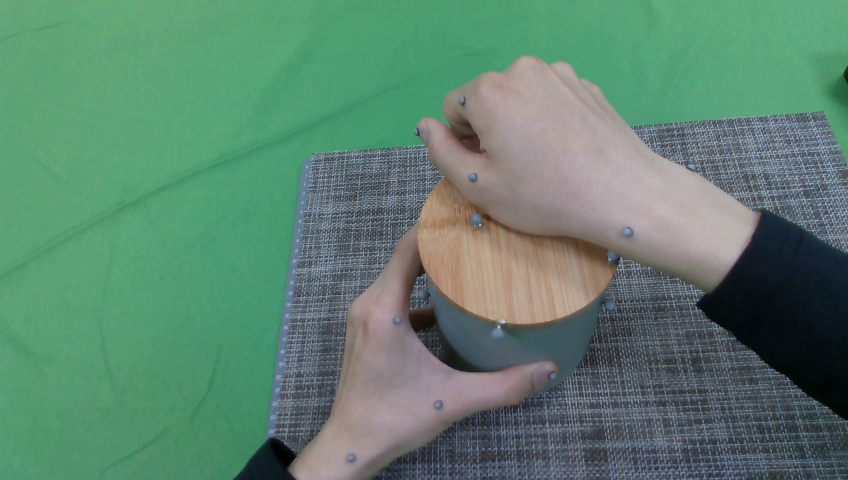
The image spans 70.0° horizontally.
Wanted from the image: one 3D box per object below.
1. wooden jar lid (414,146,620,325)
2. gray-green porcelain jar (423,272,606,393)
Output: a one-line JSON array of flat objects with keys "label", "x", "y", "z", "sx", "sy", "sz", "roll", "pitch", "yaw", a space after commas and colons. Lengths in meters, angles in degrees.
[{"label": "wooden jar lid", "x": 0.049, "y": -0.003, "z": 0.328, "sx": 0.108, "sy": 0.021, "sz": 0.107, "roll": -2, "pitch": 62, "yaw": 5}, {"label": "gray-green porcelain jar", "x": 0.055, "y": 0.032, "z": 0.382, "sx": 0.106, "sy": 0.127, "sz": 0.105, "roll": -2, "pitch": 57, "yaw": 4}]
